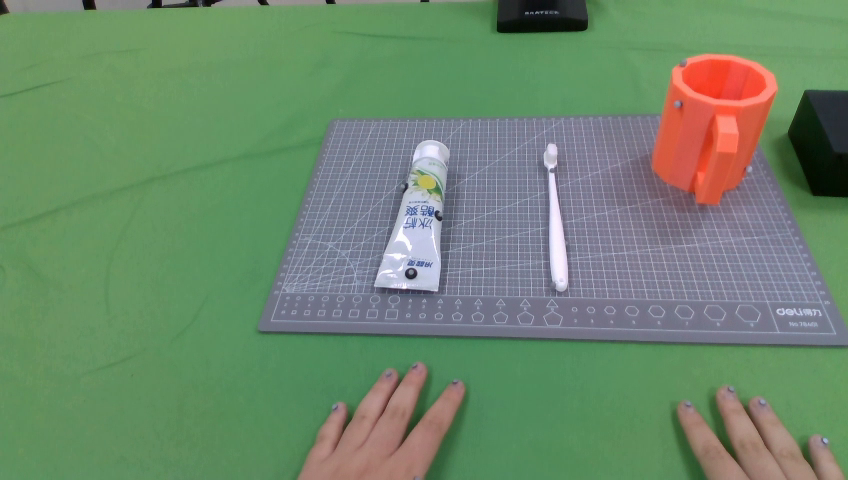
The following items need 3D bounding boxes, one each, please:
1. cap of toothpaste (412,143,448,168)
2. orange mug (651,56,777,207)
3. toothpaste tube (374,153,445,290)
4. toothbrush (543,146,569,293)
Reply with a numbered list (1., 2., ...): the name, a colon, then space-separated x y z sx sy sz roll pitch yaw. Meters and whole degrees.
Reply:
1. cap of toothpaste: 0.006 -0.080 0.599 0.037 0.038 0.011 3 49 9
2. orange mug: 0.257 -0.092 0.543 0.083 0.102 0.125 7 42 13
3. toothpaste tube: -0.006 -0.022 0.549 0.055 0.035 0.163 0 48 10
4. toothbrush: 0.119 -0.025 0.547 0.014 0.017 0.180 10 47 -3
